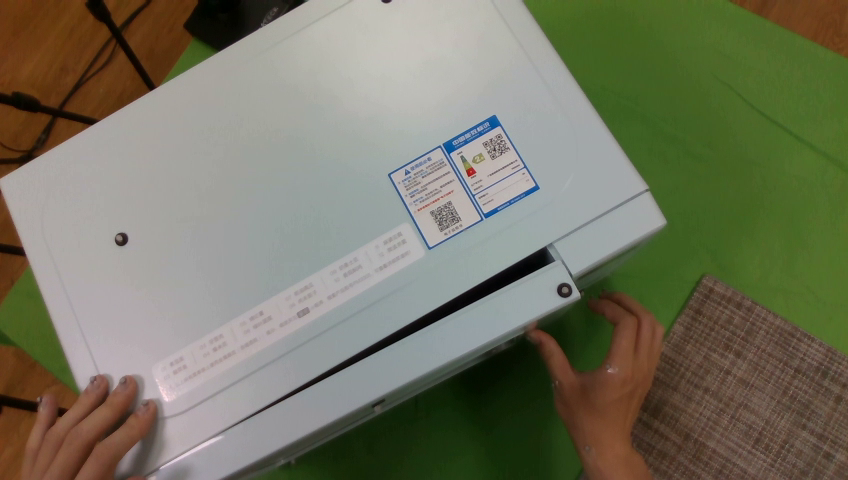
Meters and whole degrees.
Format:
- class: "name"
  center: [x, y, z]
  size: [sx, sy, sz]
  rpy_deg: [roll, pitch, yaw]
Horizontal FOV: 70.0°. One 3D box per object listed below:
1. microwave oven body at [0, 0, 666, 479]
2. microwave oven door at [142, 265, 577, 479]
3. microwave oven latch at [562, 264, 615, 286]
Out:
- class: "microwave oven body"
  center: [-0.077, -0.022, 0.577]
  size: [0.442, 0.261, 0.324]
  rpy_deg: [-30, 77, 1]
- class: "microwave oven door"
  center: [-0.040, 0.128, 0.539]
  size: [0.356, 0.245, 0.039]
  rpy_deg: [-28, 76, 1]
- class: "microwave oven latch"
  center: [0.161, 0.034, 0.637]
  size: [0.079, 0.029, 0.030]
  rpy_deg: [-28, 77, 2]
